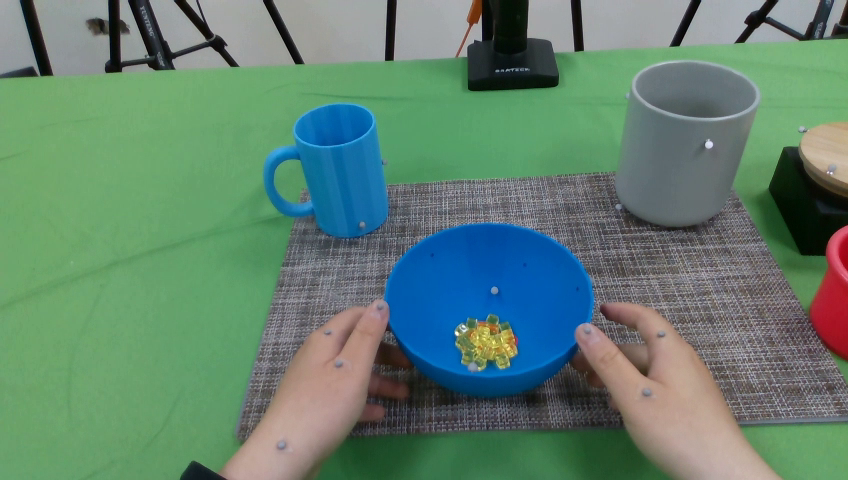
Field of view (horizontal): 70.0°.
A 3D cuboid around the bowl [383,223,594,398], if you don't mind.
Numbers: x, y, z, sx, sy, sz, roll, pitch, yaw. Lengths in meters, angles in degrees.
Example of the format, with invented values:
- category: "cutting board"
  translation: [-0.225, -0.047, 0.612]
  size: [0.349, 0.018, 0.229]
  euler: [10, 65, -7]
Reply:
- category: "bowl"
  translation: [0.048, 0.065, 0.459]
  size: [0.151, 0.077, 0.150]
  euler: [-3, 42, 3]

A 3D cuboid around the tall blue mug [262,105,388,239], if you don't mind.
- category: "tall blue mug"
  translation: [-0.091, -0.058, 0.583]
  size: [0.107, 0.109, 0.077]
  euler: [-35, 51, -28]

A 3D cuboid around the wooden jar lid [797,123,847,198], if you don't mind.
- category: "wooden jar lid"
  translation: [0.393, -0.069, 0.542]
  size: [0.108, 0.021, 0.107]
  euler: [-3, 42, 4]

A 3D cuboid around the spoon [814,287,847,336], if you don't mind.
- category: "spoon"
  translation: [0.379, 0.009, 0.441]
  size: [0.022, 0.194, 0.041]
  euler: [32, 27, -27]

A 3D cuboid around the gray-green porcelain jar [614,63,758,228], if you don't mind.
- category: "gray-green porcelain jar"
  translation: [0.236, -0.083, 0.564]
  size: [0.106, 0.128, 0.105]
  euler: [-3, 43, 3]
